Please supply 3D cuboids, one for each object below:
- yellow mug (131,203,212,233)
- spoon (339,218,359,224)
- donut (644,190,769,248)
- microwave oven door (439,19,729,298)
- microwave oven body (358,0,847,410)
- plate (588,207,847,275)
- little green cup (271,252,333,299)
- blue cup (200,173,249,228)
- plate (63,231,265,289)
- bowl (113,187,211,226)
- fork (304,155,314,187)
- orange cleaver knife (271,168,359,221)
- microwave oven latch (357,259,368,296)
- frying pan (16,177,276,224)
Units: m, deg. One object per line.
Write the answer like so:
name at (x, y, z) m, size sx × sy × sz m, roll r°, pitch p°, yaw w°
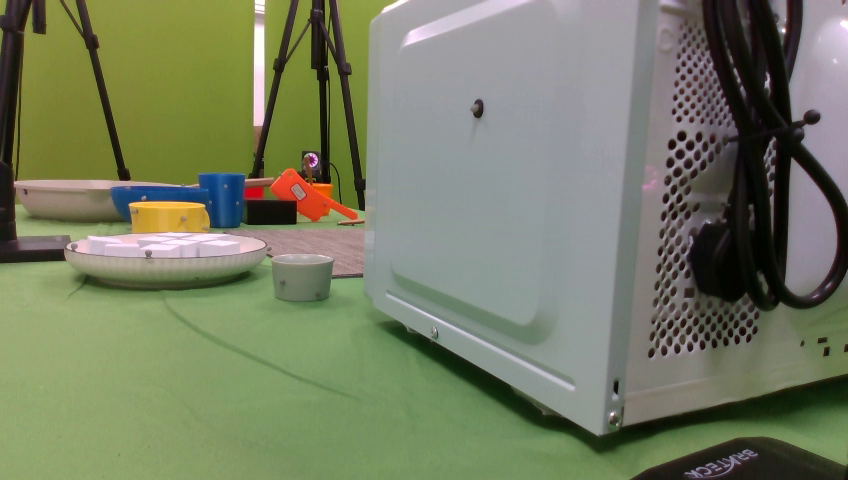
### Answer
yellow mug at (-0.356, -0.020, 0.878) m, size 0.099 × 0.064 × 0.131 m, roll 5°, pitch 7°, yaw 21°
spoon at (-0.087, -0.041, 1.268) m, size 0.193 × 0.021 × 0.041 m, roll 3°, pitch 20°, yaw 13°
donut at (0.240, -0.017, 0.517) m, size 0.099 × 0.048 × 0.099 m, roll 2°, pitch 3°, yaw 0°
microwave oven door at (0.181, -0.076, 0.617) m, size 0.358 × 0.243 × 0.039 m, roll -2°, pitch 8°, yaw -29°
microwave oven body at (0.210, -0.051, 0.471) m, size 0.444 × 0.260 × 0.324 m, roll -1°, pitch 7°, yaw -28°
plate at (0.245, -0.001, 0.511) m, size 0.209 × 0.038 × 0.209 m, roll 2°, pitch 7°, yaw 0°
little green cup at (-0.122, 0.035, 0.605) m, size 0.061 × 0.038 × 0.061 m, roll 3°, pitch 7°, yaw 0°
blue cup at (-0.381, -0.076, 1.155) m, size 0.093 × 0.100 × 0.092 m, roll 0°, pitch 9°, yaw 0°
plate at (-0.288, 0.021, 0.687) m, size 0.208 × 0.039 × 0.207 m, roll 2°, pitch 8°, yaw 0°
bowl at (-0.436, -0.046, 1.013) m, size 0.151 × 0.077 × 0.151 m, roll 2°, pitch 7°, yaw 0°
fork at (-0.268, -0.134, 1.447) m, size 0.028 × 0.018 × 0.207 m, roll 1°, pitch -36°, yaw -1°
orange cleaver knife at (-0.236, -0.084, 1.333) m, size 0.212 × 0.077 × 0.012 m, roll 31°, pitch -10°, yaw -32°
microwave oven latch at (-0.019, 0.031, 0.528) m, size 0.079 × 0.029 × 0.030 m, roll -1°, pitch 7°, yaw -25°
frying pan at (-0.553, -0.097, 1.266) m, size 0.490 × 0.102 × 0.305 m, roll -10°, pitch 13°, yaw -24°
